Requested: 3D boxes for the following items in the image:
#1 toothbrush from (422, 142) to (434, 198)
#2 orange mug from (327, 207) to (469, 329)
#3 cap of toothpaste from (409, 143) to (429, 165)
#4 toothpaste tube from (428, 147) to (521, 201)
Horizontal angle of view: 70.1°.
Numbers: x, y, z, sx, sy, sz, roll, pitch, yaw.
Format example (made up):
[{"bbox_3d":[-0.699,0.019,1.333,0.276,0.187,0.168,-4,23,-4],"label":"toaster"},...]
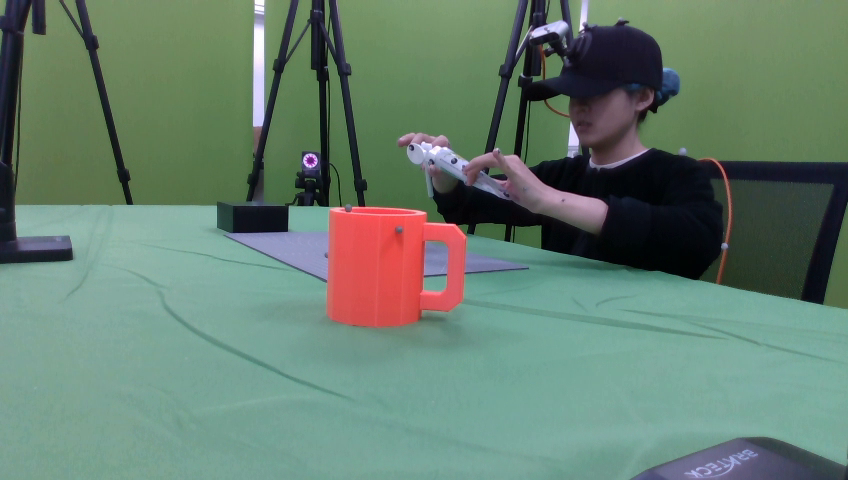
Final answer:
[{"bbox_3d":[0.009,-0.115,1.026,0.016,0.014,0.182,0,-23,3],"label":"toothbrush"},{"bbox_3d":[-0.024,0.021,0.535,0.126,0.100,0.083,-1,6,8],"label":"orange mug"},{"bbox_3d":[-0.007,-0.134,0.939,0.037,0.037,0.011,9,33,39],"label":"cap of toothpaste"},{"bbox_3d":[0.069,-0.098,0.906,0.164,0.034,0.055,34,23,30],"label":"toothpaste tube"}]
